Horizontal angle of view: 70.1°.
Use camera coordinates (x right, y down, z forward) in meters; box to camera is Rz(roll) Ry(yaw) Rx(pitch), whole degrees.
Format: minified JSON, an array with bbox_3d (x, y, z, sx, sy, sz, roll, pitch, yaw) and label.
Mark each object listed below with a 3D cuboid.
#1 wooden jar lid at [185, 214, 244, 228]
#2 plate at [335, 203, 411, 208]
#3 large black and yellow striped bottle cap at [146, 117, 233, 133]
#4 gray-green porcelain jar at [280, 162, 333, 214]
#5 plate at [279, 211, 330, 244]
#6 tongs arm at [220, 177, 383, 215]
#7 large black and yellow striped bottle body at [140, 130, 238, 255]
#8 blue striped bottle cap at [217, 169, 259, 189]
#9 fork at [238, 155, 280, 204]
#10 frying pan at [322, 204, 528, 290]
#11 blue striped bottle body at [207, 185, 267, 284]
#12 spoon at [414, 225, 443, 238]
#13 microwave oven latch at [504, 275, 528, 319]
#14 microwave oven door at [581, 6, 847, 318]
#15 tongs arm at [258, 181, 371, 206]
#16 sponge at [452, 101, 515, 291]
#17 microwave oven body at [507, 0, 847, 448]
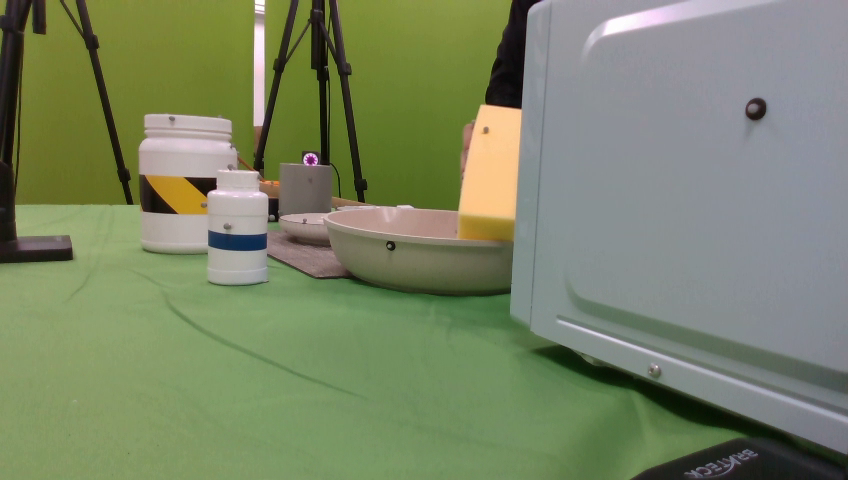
[{"bbox_3d":[-0.404,-0.037,1.169,0.108,0.020,0.108,3,7,0],"label":"wooden jar lid"},{"bbox_3d":[-0.089,-0.053,1.309,0.208,0.039,0.207,2,8,0],"label":"plate"},{"bbox_3d":[-0.333,-0.163,0.860,0.115,0.019,0.115,1,9,0],"label":"large black and yellow striped bottle cap"},{"bbox_3d":[-0.238,-0.092,1.221,0.106,0.126,0.106,2,7,0],"label":"gray-green porcelain jar"},{"bbox_3d":[-0.139,-0.022,1.021,0.209,0.038,0.209,2,8,0],"label":"plate"},{"bbox_3d":[-0.285,-0.103,1.445,0.389,0.027,0.028,9,-4,-23],"label":"tongs arm"},{"bbox_3d":[-0.336,-0.078,0.871,0.131,0.184,0.130,2,8,0],"label":"large black and yellow striped bottle body"},{"bbox_3d":[-0.202,-0.067,0.656,0.044,0.020,0.044,0,10,0],"label":"blue striped bottle cap"},{"bbox_3d":[-0.396,-0.143,1.486,0.028,0.018,0.208,20,-26,45],"label":"fork"},{"bbox_3d":[0.109,-0.018,0.799,0.490,0.102,0.305,-12,16,-30],"label":"frying pan"},{"bbox_3d":[-0.204,-0.016,0.663,0.063,0.120,0.063,2,7,0],"label":"blue striped bottle body"},{"bbox_3d":[0.017,-0.020,1.113,0.041,0.021,0.194,-14,3,12],"label":"spoon"},{"bbox_3d":[0.100,0.042,0.471,0.079,0.029,0.030,-1,7,-28],"label":"microwave oven latch"},{"bbox_3d":[0.295,-0.067,0.569,0.358,0.243,0.039,-3,8,-31],"label":"microwave oven door"},{"bbox_3d":[-0.241,-0.095,1.373,0.387,0.026,0.050,9,-1,-37],"label":"tongs arm"},{"bbox_3d":[0.078,-0.057,0.703,0.061,0.118,0.206,8,45,8],"label":"sponge"},{"bbox_3d":[0.331,-0.042,0.425,0.444,0.260,0.324,-2,8,-31],"label":"microwave oven body"}]
